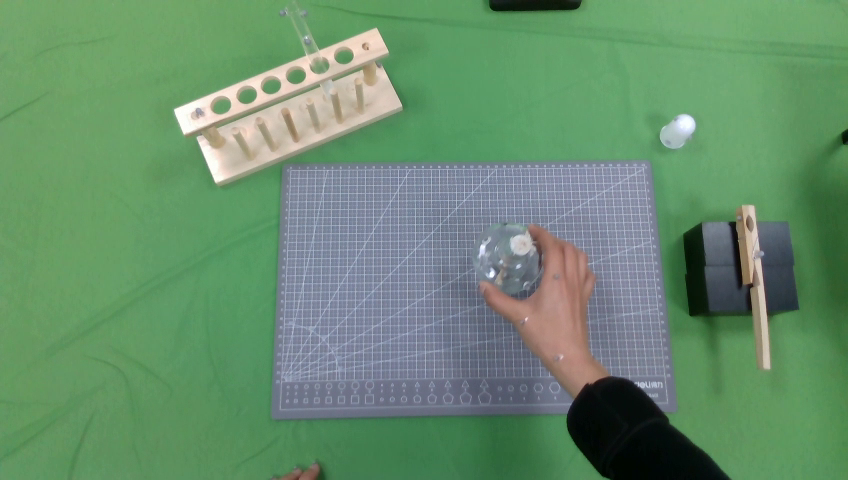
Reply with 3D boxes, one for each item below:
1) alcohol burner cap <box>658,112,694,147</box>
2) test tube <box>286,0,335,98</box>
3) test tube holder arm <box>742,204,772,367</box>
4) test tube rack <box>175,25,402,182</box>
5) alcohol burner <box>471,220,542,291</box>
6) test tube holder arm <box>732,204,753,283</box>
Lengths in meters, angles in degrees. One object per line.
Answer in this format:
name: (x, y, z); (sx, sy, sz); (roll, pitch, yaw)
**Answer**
alcohol burner cap: (0.308, -0.136, 0.736); (0.034, 0.048, 0.033); (0, 76, 1)
test tube: (-0.120, -0.205, 0.667); (0.017, 0.151, 0.017); (-3, 66, 7)
test tube holder arm: (0.359, 0.047, 0.658); (0.013, 0.015, 0.177); (-3, 78, -1)
test tube rack: (-0.150, -0.157, 0.709); (0.242, 0.085, 0.066); (-24, 78, -7)
alcohol burner: (0.090, 0.012, 0.635); (0.078, 0.119, 0.077); (1, 76, -5)
test tube holder arm: (0.352, 0.004, 0.667); (0.010, 0.015, 0.087); (-2, 78, -1)
